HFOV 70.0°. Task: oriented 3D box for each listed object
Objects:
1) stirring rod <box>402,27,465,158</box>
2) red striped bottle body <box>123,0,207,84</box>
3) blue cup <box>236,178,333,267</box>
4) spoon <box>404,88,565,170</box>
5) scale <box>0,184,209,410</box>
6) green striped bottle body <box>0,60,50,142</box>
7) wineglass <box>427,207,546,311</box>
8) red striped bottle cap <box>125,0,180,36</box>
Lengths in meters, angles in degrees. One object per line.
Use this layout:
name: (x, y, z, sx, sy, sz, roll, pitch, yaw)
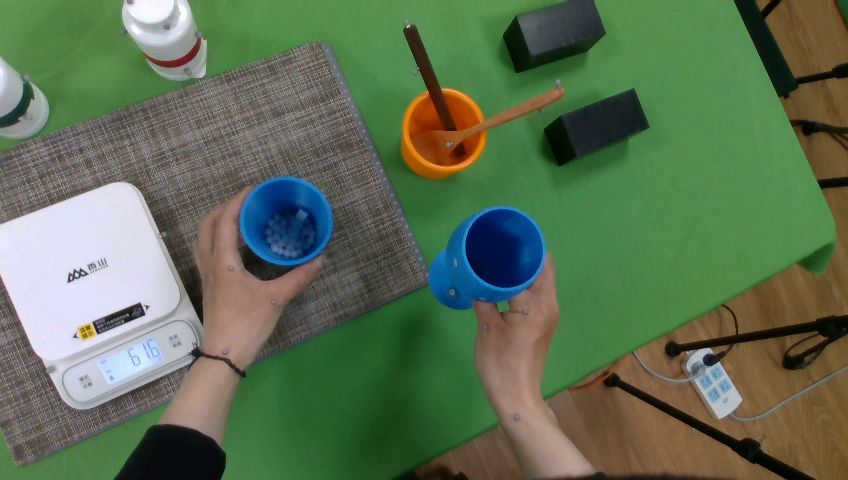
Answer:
stirring rod: (0.013, -0.148, 0.638, 0.014, 0.178, 0.005, -8, 51, 17)
red striped bottle body: (-0.259, -0.207, 0.608, 0.063, 0.119, 0.063, 1, 83, -11)
blue cup: (-0.137, -0.011, 0.618, 0.093, 0.100, 0.092, 1, 83, -11)
spoon: (0.059, -0.119, 0.646, 0.021, 0.193, 0.042, -32, 102, -55)
scale: (-0.323, 0.056, 0.611, 0.149, 0.031, 0.201, -24, 90, -12)
green striped bottle body: (-0.411, -0.138, 0.572, 0.063, 0.119, 0.063, 1, 83, -11)
wineglass: (0.046, 0.022, 0.513, 0.074, 0.172, 0.073, 1, 79, -7)
red striped bottle cap: (-0.249, -0.212, 0.556, 0.044, 0.018, 0.044, 1, 82, -9)
